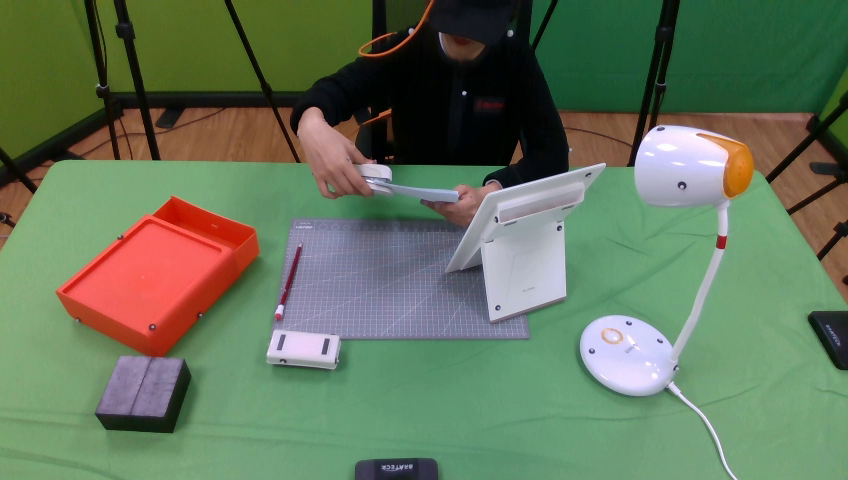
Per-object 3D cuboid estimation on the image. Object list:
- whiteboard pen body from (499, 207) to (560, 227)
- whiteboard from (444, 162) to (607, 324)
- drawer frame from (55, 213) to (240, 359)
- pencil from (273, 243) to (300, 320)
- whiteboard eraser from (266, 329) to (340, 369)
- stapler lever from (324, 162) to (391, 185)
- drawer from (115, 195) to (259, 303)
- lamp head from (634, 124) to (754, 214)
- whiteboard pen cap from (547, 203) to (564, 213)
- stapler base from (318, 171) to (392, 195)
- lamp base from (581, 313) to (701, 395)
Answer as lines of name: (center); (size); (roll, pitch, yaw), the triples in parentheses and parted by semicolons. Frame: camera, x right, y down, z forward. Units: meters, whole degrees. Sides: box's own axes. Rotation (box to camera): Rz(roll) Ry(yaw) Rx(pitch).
whiteboard pen body: (0.222, -0.051, 1.259); (0.141, 0.017, 0.017); (-15, 49, -16)
whiteboard: (0.186, 0.025, 1.029); (0.217, 0.306, 0.143); (-15, 68, -18)
drawer frame: (-0.469, 0.072, 1.050); (0.201, 0.083, 0.213); (21, 49, 14)
pencil: (-0.249, 0.071, 1.115); (0.012, 0.012, 0.193); (5, 43, 1)
whiteboard eraser: (-0.198, 0.181, 0.994); (0.113, 0.042, 0.055); (5, 45, 1)
stapler lever: (-0.117, -0.124, 1.080); (0.118, 0.027, 0.040); (15, 82, 6)
drawer: (-0.442, 0.033, 1.092); (0.194, 0.073, 0.211); (21, 49, 15)
lamp head: (0.351, -0.089, 0.776); (0.112, 0.113, 0.122); (-30, 30, -28)
whiteboard pen cap: (0.277, -0.066, 1.275); (0.033, 0.018, 0.018); (-18, 50, -15)
stapler base: (-0.120, -0.104, 1.079); (0.130, 0.041, 0.024); (10, 82, 5)
lamp base: (0.361, 0.144, 0.973); (0.178, 0.181, 0.160); (34, 53, 23)
